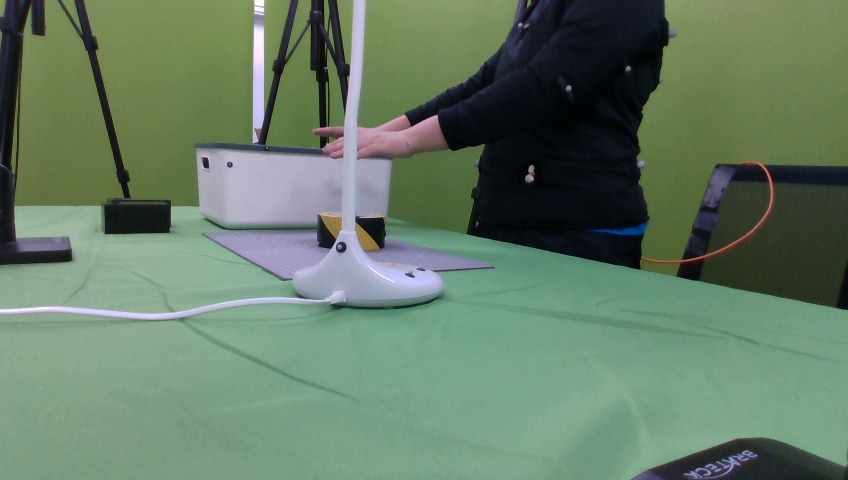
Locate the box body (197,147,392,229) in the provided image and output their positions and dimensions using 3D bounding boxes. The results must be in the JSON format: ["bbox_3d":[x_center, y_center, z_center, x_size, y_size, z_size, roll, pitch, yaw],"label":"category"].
[{"bbox_3d":[-0.278,-0.117,1.292,0.366,0.160,0.253,-2,8,-30],"label":"box body"}]

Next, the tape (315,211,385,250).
[{"bbox_3d":[-0.119,-0.017,0.973,0.117,0.052,0.117,2,6,0],"label":"tape"}]

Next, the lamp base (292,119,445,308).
[{"bbox_3d":[-0.056,-0.030,0.616,0.160,0.180,0.179,4,10,8],"label":"lamp base"}]

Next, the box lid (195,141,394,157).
[{"bbox_3d":[-0.277,-0.190,1.282,0.373,0.015,0.262,-1,8,-30],"label":"box lid"}]
